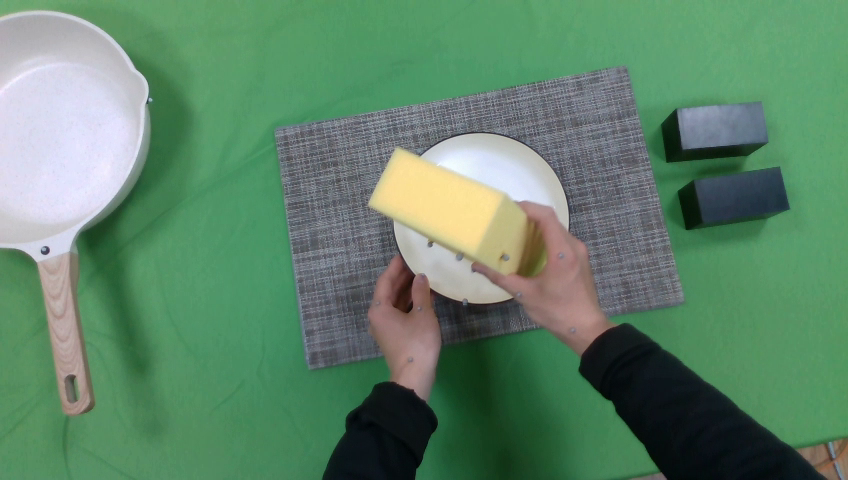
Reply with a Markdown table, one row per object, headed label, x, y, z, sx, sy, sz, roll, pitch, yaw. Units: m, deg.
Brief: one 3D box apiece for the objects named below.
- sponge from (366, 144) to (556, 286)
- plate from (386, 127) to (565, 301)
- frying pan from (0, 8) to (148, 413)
| label | x | y | z | sx | sy | sz | roll | pitch | yaw |
| --- | --- | --- | --- | --- | --- | --- | --- | --- | --- |
| sponge | 0.048 | -0.018 | 0.612 | 0.117 | 0.208 | 0.061 | 25 | 89 | 28 |
| plate | 0.060 | -0.029 | 0.718 | 0.207 | 0.039 | 0.207 | 0 | 81 | 2 |
| frying pan | -0.441 | -0.037 | 0.706 | 0.307 | 0.103 | 0.484 | -18 | 73 | 0 |
